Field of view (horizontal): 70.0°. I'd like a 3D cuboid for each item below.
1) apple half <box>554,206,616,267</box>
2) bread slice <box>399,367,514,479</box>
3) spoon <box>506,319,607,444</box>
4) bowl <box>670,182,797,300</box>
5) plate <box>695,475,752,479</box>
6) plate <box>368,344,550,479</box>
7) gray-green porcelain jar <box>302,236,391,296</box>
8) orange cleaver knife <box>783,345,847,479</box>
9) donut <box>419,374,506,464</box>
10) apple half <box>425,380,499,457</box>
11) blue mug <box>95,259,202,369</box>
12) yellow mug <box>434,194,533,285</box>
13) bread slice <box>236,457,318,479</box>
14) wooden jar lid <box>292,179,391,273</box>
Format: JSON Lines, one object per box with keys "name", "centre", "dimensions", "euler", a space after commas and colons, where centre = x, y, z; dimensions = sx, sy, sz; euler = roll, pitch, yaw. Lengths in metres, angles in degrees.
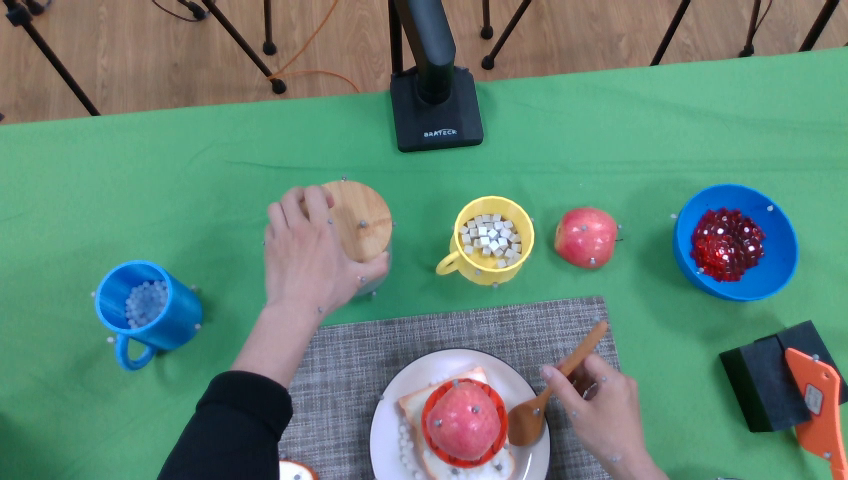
{"name": "apple half", "centre": [0.210, -0.010, 0.782], "dimensions": [0.074, 0.053, 0.080], "euler": [15, 72, 5]}
{"name": "bread slice", "centre": [0.045, 0.226, 0.704], "dimensions": [0.107, 0.018, 0.133], "euler": [-21, 72, -9]}
{"name": "spoon", "centre": [0.142, 0.158, 0.664], "dimensions": [0.022, 0.194, 0.041], "euler": [-12, 49, -46]}
{"name": "bowl", "centre": [0.377, 0.010, 0.770], "dimensions": [0.151, 0.077, 0.150], "euler": [1, 72, -2]}
{"name": "plate", "centre": [0.340, 0.369, 0.671], "dimensions": [0.209, 0.038, 0.207], "euler": [1, 72, -2]}
{"name": "plate", "centre": [0.039, 0.226, 0.700], "dimensions": [0.208, 0.039, 0.206], "euler": [1, 72, -2]}
{"name": "gray-green porcelain jar", "centre": [-0.092, 0.006, 0.724], "dimensions": [0.106, 0.127, 0.105], "euler": [1, 71, -2]}
{"name": "orange cleaver knife", "centre": [0.459, 0.225, 0.701], "dimensions": [0.012, 0.077, 0.211], "euler": [-16, 95, -15]}
{"name": "donut", "centre": [0.044, 0.200, 0.678], "dimensions": [0.099, 0.048, 0.098], "euler": [1, 70, -3]}
{"name": "apple half", "centre": [0.042, 0.191, 0.644], "dimensions": [0.081, 0.033, 0.081], "euler": [-1, 74, 4]}
{"name": "blue mug", "centre": [-0.317, 0.091, 0.695], "dimensions": [0.082, 0.106, 0.116], "euler": [14, 71, 2]}
{"name": "yellow mug", "centre": [0.070, 0.008, 0.762], "dimensions": [0.131, 0.064, 0.099], "euler": [-29, 75, -11]}
{"name": "bread slice", "centre": [-0.170, 0.310, 0.673], "dimensions": [0.105, 0.019, 0.130], "euler": [1, 73, -3]}
{"name": "wooden jar lid", "centre": [-0.090, -0.014, 0.665], "dimensions": [0.108, 0.021, 0.107], "euler": [0, 70, -1]}
